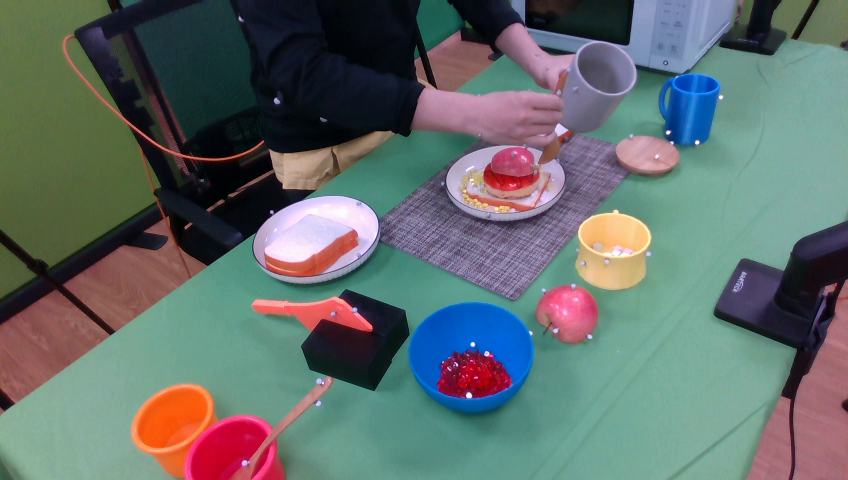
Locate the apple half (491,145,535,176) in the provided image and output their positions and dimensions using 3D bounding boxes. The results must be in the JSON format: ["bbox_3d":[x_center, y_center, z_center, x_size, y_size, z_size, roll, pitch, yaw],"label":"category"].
[{"bbox_3d":[0.147,-0.138,0.994,0.081,0.033,0.081,0,37,0],"label":"apple half"}]

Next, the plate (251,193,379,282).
[{"bbox_3d":[-0.174,-0.001,0.984,0.209,0.038,0.208,-4,40,4],"label":"plate"}]

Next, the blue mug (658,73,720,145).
[{"bbox_3d":[0.483,-0.250,1.127,0.082,0.106,0.115,-26,44,-19],"label":"blue mug"}]

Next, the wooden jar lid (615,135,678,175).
[{"bbox_3d":[0.398,-0.151,1.086,0.108,0.021,0.108,-1,42,2],"label":"wooden jar lid"}]

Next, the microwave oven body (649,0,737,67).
[{"bbox_3d":[0.475,-0.602,1.411,0.438,0.261,0.327,23,50,32],"label":"microwave oven body"}]

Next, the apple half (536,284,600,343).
[{"bbox_3d":[0.196,0.091,0.815,0.075,0.053,0.080,-22,42,-20],"label":"apple half"}]

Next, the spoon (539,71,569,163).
[{"bbox_3d":[0.192,-0.176,0.891,0.042,0.194,0.021,-31,59,-13],"label":"spoon"}]

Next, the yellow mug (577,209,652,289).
[{"bbox_3d":[0.279,0.004,0.893,0.099,0.064,0.130,5,41,15],"label":"yellow mug"}]

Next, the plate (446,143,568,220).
[{"bbox_3d":[0.142,-0.097,1.045,0.207,0.039,0.206,-4,40,4],"label":"plate"}]

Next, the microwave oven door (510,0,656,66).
[{"bbox_3d":[0.350,-0.539,1.349,0.353,0.245,0.039,24,50,31],"label":"microwave oven door"}]

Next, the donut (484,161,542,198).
[{"bbox_3d":[0.149,-0.110,1.016,0.099,0.048,0.098,-4,41,4],"label":"donut"}]

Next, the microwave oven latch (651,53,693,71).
[{"bbox_3d":[0.532,-0.386,1.301,0.078,0.029,0.030,27,52,34],"label":"microwave oven latch"}]

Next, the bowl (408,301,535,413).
[{"bbox_3d":[0.060,0.156,0.739,0.151,0.077,0.150,-4,40,4],"label":"bowl"}]

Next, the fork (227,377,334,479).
[{"bbox_3d":[-0.163,0.216,0.647,0.207,0.019,0.028,-49,41,16],"label":"fork"}]

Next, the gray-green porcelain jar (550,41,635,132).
[{"bbox_3d":[0.278,-0.252,1.020,0.106,0.126,0.105,4,68,-9],"label":"gray-green porcelain jar"}]

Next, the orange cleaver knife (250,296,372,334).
[{"bbox_3d":[-0.158,0.103,0.828,0.210,0.078,0.012,-4,43,39],"label":"orange cleaver knife"}]

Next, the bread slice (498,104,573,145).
[{"bbox_3d":[0.231,-0.231,1.205,0.105,0.019,0.130,-36,48,-29],"label":"bread slice"}]

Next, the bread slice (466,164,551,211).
[{"bbox_3d":[0.140,-0.091,1.043,0.133,0.018,0.107,12,44,18],"label":"bread slice"}]
